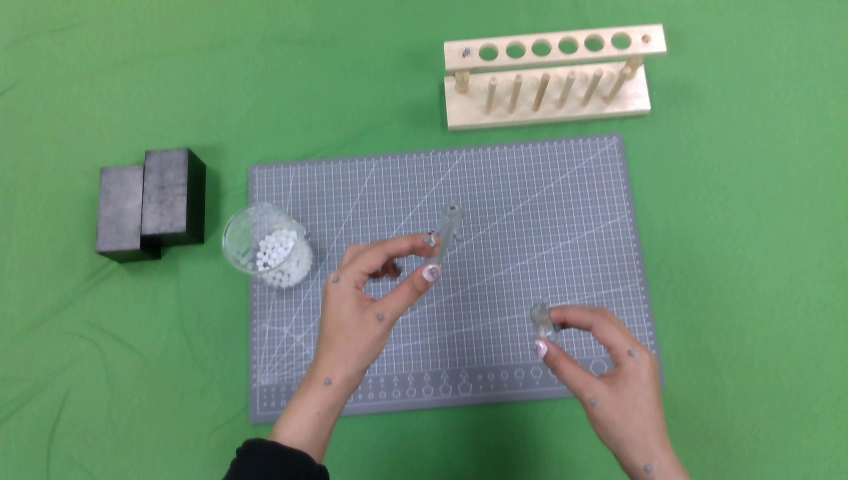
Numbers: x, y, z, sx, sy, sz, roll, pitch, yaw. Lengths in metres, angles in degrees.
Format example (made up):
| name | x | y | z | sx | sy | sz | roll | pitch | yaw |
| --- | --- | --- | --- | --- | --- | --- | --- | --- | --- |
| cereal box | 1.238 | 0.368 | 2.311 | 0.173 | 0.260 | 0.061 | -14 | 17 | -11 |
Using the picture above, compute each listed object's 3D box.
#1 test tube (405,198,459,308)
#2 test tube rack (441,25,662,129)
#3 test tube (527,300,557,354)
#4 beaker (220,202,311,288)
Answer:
| name | x | y | z | sx | sy | sz | roll | pitch | yaw |
| --- | --- | --- | --- | --- | --- | --- | --- | --- | --- |
| test tube | 0.004 | 0.017 | 0.500 | 0.017 | 0.151 | 0.017 | 7 | 55 | -9 |
| test tube rack | 0.143 | -0.187 | 0.706 | 0.242 | 0.085 | 0.066 | -4 | 75 | 1 |
| test tube | 0.101 | 0.076 | 0.508 | 0.017 | 0.152 | 0.017 | -5 | 69 | 13 |
| beaker | -0.163 | 0.009 | 0.655 | 0.084 | 0.101 | 0.073 | -12 | 75 | -2 |
